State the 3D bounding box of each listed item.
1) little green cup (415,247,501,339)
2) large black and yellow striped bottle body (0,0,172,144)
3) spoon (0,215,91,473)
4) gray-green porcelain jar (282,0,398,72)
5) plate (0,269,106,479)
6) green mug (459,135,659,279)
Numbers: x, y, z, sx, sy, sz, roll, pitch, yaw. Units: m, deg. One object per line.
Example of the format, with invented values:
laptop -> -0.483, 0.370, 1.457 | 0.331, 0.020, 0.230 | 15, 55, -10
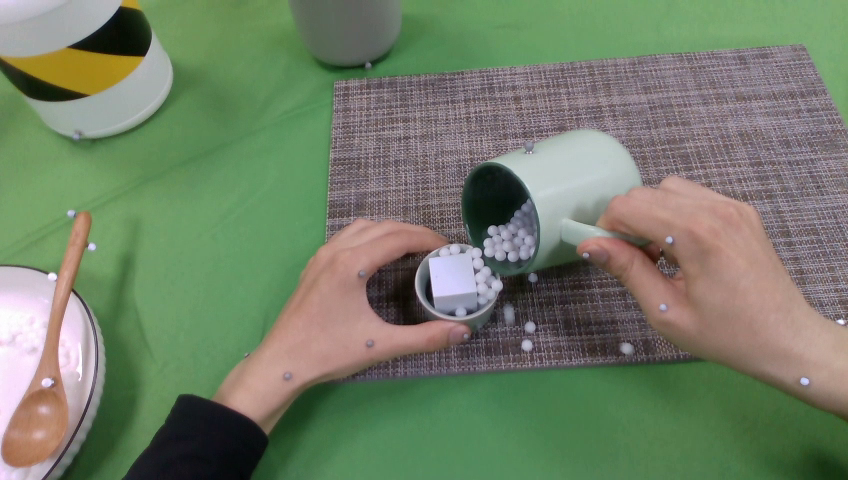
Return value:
little green cup -> 0.025, 0.041, 0.442 | 0.061, 0.039, 0.061 | -2, 56, 3
large black and yellow striped bottle body -> -0.319, -0.188, 0.524 | 0.131, 0.185, 0.129 | -2, 59, 3
spoon -> -0.264, 0.066, 0.436 | 0.041, 0.022, 0.192 | -2, 67, 2
gray-green porcelain jar -> -0.080, -0.232, 0.569 | 0.106, 0.127, 0.105 | -2, 59, 3
plate -> -0.325, 0.119, 0.427 | 0.209, 0.038, 0.207 | -2, 59, 3
green mug -> 0.100, -0.019, 0.419 | 0.105, 0.093, 0.124 | -17, 25, -34
